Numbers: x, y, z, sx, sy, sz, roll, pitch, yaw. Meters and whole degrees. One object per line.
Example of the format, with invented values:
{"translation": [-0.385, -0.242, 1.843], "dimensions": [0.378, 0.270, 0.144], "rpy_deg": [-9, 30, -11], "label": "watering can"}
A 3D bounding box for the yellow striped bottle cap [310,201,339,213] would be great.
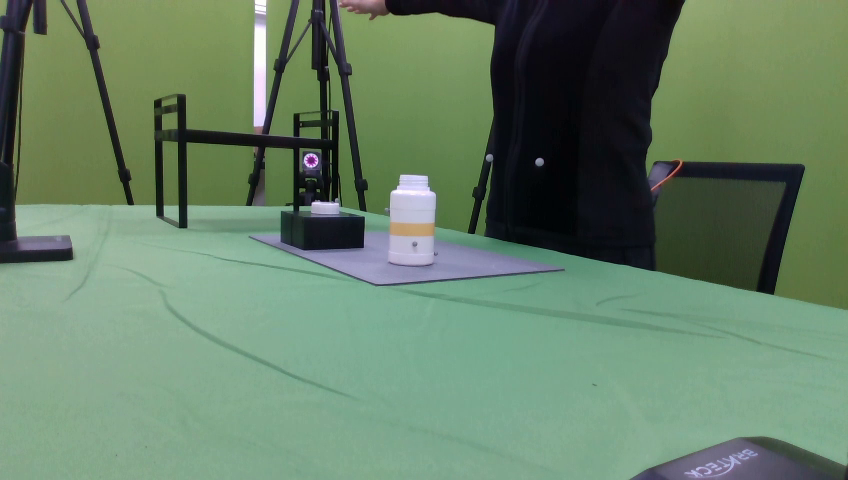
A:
{"translation": [-0.157, -0.051, 0.956], "dimensions": [0.044, 0.018, 0.044], "rpy_deg": [4, 6, 0], "label": "yellow striped bottle cap"}

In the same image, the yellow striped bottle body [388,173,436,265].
{"translation": [-0.016, -0.030, 0.813], "dimensions": [0.063, 0.120, 0.063], "rpy_deg": [2, 7, 0], "label": "yellow striped bottle body"}
